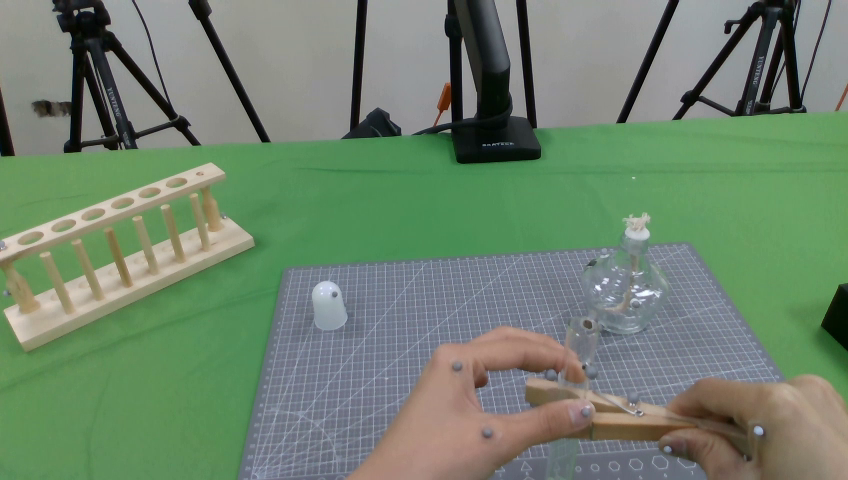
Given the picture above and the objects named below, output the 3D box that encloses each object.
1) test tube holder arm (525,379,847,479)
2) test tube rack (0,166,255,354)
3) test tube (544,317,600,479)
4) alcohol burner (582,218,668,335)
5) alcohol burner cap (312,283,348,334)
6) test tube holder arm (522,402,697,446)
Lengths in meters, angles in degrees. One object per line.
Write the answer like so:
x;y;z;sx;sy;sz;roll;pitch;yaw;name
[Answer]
0.141;0.099;0.313;0.177;0.015;0.013;9;42;17;test tube holder arm
-0.307;0.011;0.630;0.242;0.086;0.066;-29;43;-32;test tube rack
0.078;0.105;0.334;0.017;0.151;0.017;0;32;0;test tube
0.185;0.028;0.549;0.078;0.120;0.077;-1;38;1;alcohol burner
-0.091;0.062;0.579;0.034;0.048;0.033;-1;36;1;alcohol burner cap
0.096;0.097;0.320;0.087;0.015;0.010;3;40;10;test tube holder arm
